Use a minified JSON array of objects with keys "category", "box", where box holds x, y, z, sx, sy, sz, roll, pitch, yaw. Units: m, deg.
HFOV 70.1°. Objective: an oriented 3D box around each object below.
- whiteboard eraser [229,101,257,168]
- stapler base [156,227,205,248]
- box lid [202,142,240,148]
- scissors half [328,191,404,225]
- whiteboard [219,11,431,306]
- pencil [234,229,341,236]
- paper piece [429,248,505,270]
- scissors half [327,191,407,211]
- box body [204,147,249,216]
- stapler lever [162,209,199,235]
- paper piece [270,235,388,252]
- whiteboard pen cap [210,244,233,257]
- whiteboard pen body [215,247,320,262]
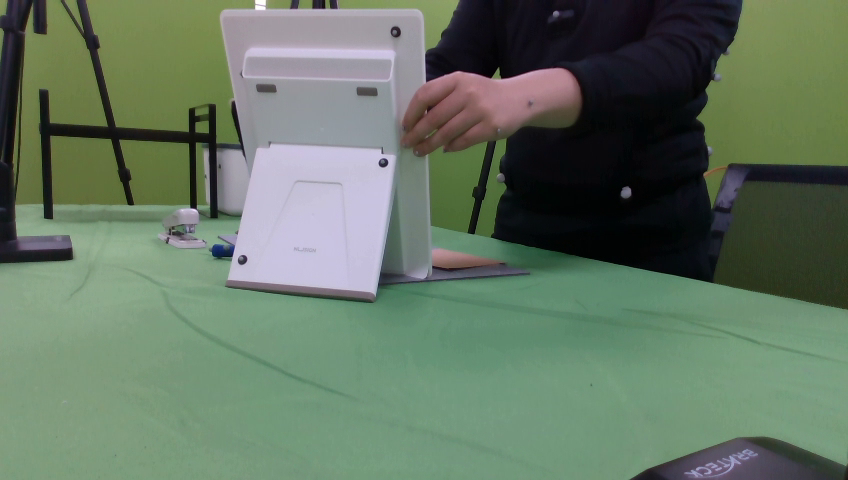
[{"category":"whiteboard eraser","box":[-0.188,-0.110,0.710,0.055,0.113,0.042,2,28,23]},{"category":"stapler base","box":[-0.376,-0.007,0.934,0.041,0.024,0.130,0,6,-38]},{"category":"box lid","box":[-0.345,-0.225,1.509,0.373,0.015,0.262,-2,8,-31]},{"category":"scissors half","box":[-0.128,-0.072,1.320,0.175,0.040,0.013,22,7,-6]},{"category":"whiteboard","box":[-0.119,-0.064,0.619,0.217,0.305,0.144,5,29,13]},{"category":"pencil","box":[-0.232,-0.012,1.053,0.195,0.012,0.012,0,8,-36]},{"category":"paper piece","box":[0.025,0.026,0.865,0.134,0.004,0.136,10,10,43]},{"category":"scissors half","box":[-0.123,-0.092,1.316,0.175,0.040,0.013,6,14,-4]},{"category":"box body","box":[-0.346,-0.152,1.519,0.366,0.160,0.253,-2,9,-31]},{"category":"stapler lever","box":[-0.376,-0.031,0.933,0.027,0.040,0.117,0,7,-38]},{"category":"paper piece","box":[-0.151,0.003,0.978,0.135,0.008,0.139,13,10,35]},{"category":"whiteboard pen cap","box":[-0.266,0.015,0.806,0.033,0.018,0.018,2,7,-1]},{"category":"whiteboard pen body","box":[-0.208,0.019,0.804,0.141,0.017,0.017,2,7,1]}]
